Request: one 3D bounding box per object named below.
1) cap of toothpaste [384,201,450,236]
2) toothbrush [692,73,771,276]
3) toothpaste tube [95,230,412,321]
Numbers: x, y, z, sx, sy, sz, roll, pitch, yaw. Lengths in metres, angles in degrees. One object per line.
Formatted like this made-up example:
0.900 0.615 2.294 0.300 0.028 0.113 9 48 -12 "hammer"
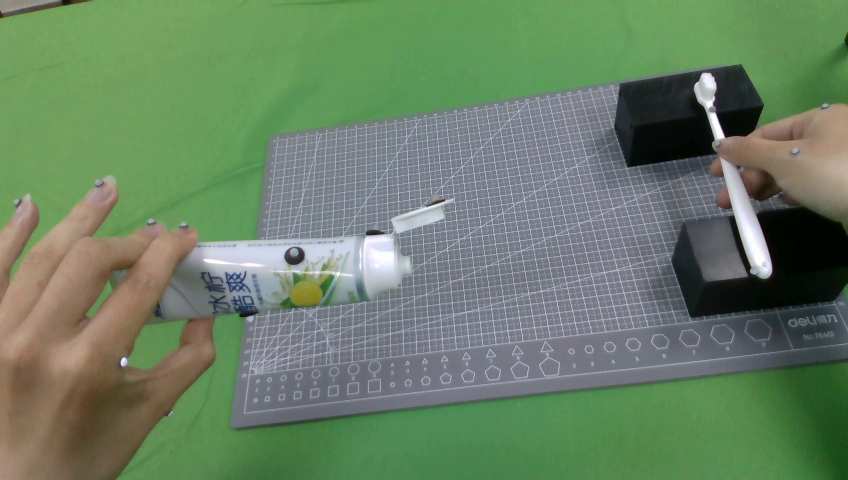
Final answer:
-0.003 -0.011 0.314 0.037 0.037 0.011 -20 93 -3 "cap of toothpaste"
0.220 -0.054 0.435 0.014 0.017 0.180 1 57 1 "toothbrush"
-0.089 0.016 0.323 0.165 0.055 0.034 -5 27 5 "toothpaste tube"
